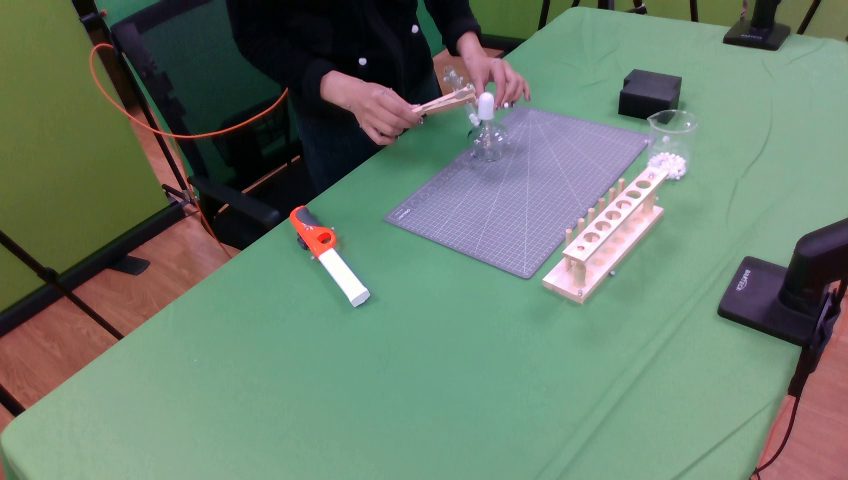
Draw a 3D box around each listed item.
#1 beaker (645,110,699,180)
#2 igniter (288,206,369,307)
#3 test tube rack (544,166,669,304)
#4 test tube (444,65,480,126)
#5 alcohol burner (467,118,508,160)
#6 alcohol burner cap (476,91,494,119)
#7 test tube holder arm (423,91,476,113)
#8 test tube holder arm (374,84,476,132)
[{"bbox_3d":[0.417,-0.160,1.032,0.083,0.101,0.074,25,51,34],"label":"beaker"},{"bbox_3d":[-0.163,0.018,0.986,0.057,0.025,0.274,-33,45,-12],"label":"igniter"},{"bbox_3d":[0.274,-0.018,0.903,0.066,0.085,0.243,26,51,35],"label":"test tube rack"},{"bbox_3d":[0.063,-0.225,0.957,0.017,0.151,0.017,-8,65,19],"label":"test tube"},{"bbox_3d":[0.118,-0.210,1.131,0.078,0.119,0.077,-6,42,6],"label":"alcohol burner"},{"bbox_3d":[0.112,-0.248,1.098,0.034,0.048,0.033,0,33,0],"label":"alcohol burner cap"},{"bbox_3d":[0.040,-0.218,0.960,0.087,0.015,0.010,-10,65,23],"label":"test tube holder arm"},{"bbox_3d":[0.000,-0.212,0.978,0.178,0.015,0.013,-17,62,19],"label":"test tube holder arm"}]
